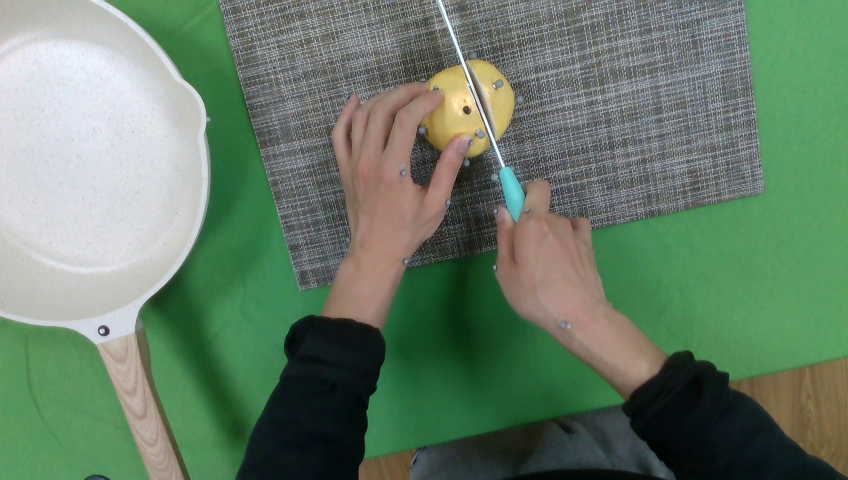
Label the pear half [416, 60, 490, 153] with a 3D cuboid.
[{"bbox_3d":[0.022,-0.105,0.501,0.056,0.109,0.076,-27,98,8],"label":"pear half"}]

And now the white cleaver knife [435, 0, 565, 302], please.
[{"bbox_3d":[0.064,-0.078,0.514,0.021,0.065,0.287,-20,101,9],"label":"white cleaver knife"}]

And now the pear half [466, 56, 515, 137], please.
[{"bbox_3d":[0.059,-0.125,0.508,0.031,0.088,0.070,-29,93,-1],"label":"pear half"}]

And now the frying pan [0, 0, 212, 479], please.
[{"bbox_3d":[-0.294,0.027,0.544,0.307,0.102,0.488,-17,93,6],"label":"frying pan"}]
